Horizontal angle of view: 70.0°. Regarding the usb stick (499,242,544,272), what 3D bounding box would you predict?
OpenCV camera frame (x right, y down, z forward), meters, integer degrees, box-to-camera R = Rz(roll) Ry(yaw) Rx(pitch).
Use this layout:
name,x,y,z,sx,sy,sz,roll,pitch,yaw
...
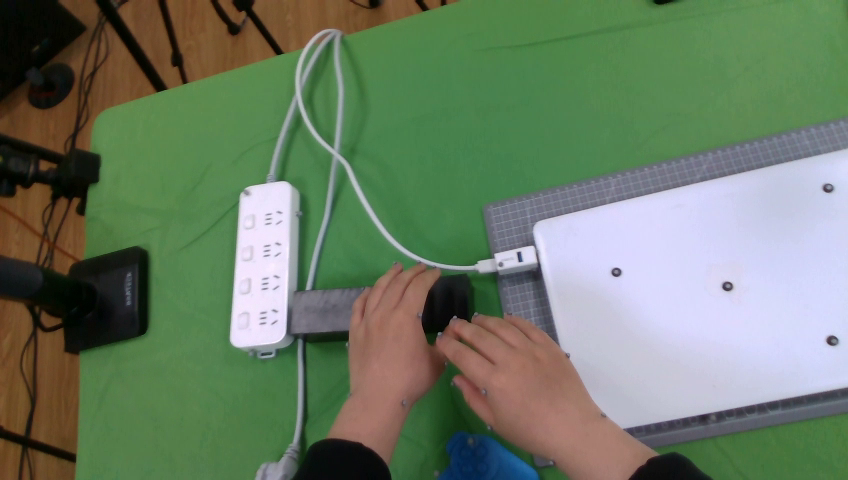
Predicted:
name,x,y,z,sx,sy,sz,roll,pitch,yaw
usb stick,0.114,0.018,0.669,0.059,0.027,0.021,-10,69,6

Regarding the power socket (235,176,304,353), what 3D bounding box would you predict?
name,x,y,z,sx,sy,sz,roll,pitch,yaw
power socket,-0.188,0.024,0.746,0.072,0.033,0.225,-6,69,11

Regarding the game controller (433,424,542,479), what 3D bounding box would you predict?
name,x,y,z,sx,sy,sz,roll,pitch,yaw
game controller,0.036,0.259,0.603,0.096,0.052,0.155,38,83,24

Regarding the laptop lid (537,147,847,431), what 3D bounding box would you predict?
name,x,y,z,sx,sy,sz,roll,pitch,yaw
laptop lid,0.311,0.046,0.613,0.356,0.013,0.240,-12,71,10

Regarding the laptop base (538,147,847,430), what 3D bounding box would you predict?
name,x,y,z,sx,sy,sz,roll,pitch,yaw
laptop base,0.314,0.047,0.624,0.354,0.023,0.234,-13,72,9

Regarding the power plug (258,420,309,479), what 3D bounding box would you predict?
name,x,y,z,sx,sy,sz,roll,pitch,yaw
power plug,-0.153,0.240,0.671,0.052,0.035,0.072,-17,25,32
